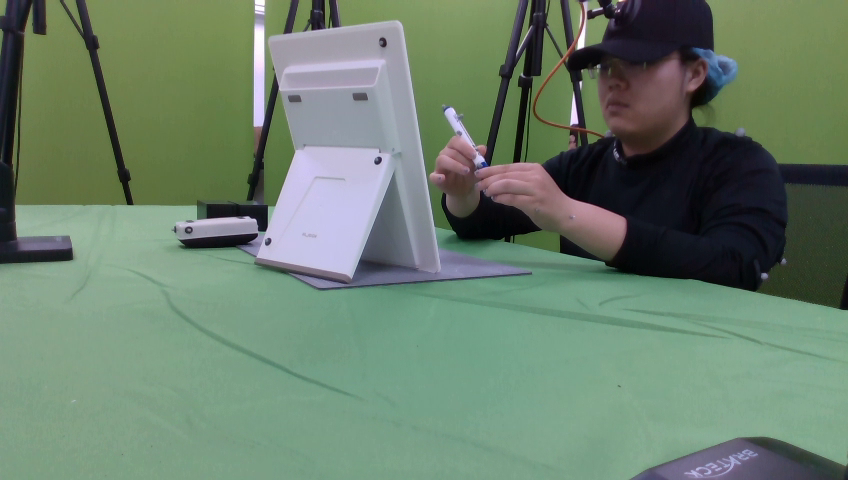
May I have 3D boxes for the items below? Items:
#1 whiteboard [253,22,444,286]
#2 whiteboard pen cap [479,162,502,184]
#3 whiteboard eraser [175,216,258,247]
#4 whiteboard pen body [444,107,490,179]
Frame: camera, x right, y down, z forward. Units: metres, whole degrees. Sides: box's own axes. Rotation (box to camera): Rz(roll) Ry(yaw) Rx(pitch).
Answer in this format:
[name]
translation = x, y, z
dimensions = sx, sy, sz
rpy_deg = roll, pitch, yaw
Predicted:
[whiteboard]
translation = -0.125, -0.081, 0.715
dimensions = 0.216, 0.305, 0.144
rpy_deg = 9, 29, 36
[whiteboard pen cap]
translation = 0.095, -0.094, 0.857
dimensions = 0.033, 0.018, 0.018
rpy_deg = 39, -1, -13
[whiteboard eraser]
translation = -0.313, -0.012, 0.915
dimensions = 0.113, 0.042, 0.055
rpy_deg = -5, 12, -30
[whiteboard pen body]
translation = 0.064, -0.143, 0.885
dimensions = 0.017, 0.140, 0.017
rpy_deg = -22, -27, -11
